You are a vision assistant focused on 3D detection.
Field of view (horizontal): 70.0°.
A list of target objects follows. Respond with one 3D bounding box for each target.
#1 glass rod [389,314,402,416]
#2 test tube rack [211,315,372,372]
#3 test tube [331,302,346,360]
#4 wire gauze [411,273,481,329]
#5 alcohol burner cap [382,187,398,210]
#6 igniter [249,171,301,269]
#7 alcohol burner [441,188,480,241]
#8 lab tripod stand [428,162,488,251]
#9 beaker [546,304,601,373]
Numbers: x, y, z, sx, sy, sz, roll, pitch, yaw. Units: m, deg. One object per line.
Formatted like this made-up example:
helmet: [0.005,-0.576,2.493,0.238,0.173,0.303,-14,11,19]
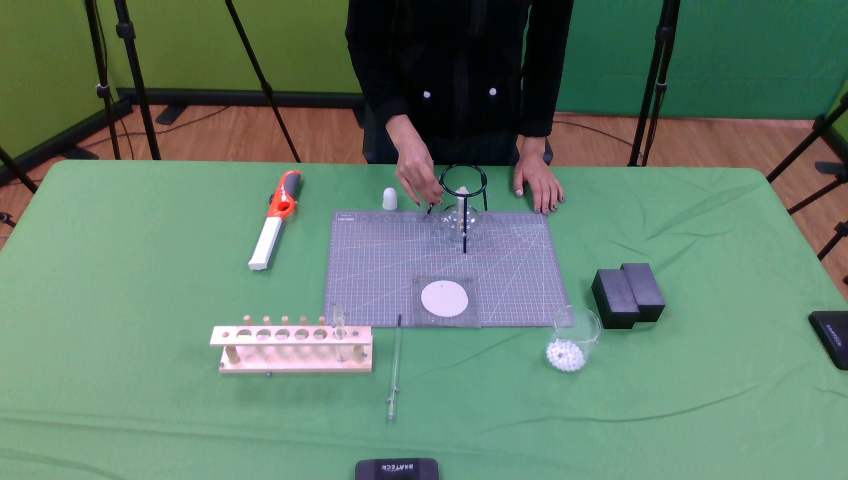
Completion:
glass rod: [-0.048,0.203,1.008,0.008,0.008,0.198,4,45,0]
test tube rack: [-0.208,0.163,0.982,0.242,0.085,0.066,1,46,-4]
test tube: [-0.132,0.144,0.938,0.017,0.151,0.017,2,49,-3]
wire gauze: [0.038,0.108,1.103,0.125,0.011,0.120,2,47,-3]
alcohol burner cap: [-0.072,-0.090,1.266,0.034,0.048,0.033,3,47,-3]
igniter: [-0.297,-0.049,1.221,0.057,0.025,0.275,-1,45,9]
alcohol burner: [0.073,-0.055,1.189,0.078,0.120,0.077,1,48,-1]
lab tripod stand: [0.076,-0.073,1.186,0.148,0.132,0.147,2,51,-2]
beaker: [0.242,0.167,1.001,0.084,0.101,0.073,-32,55,-28]
